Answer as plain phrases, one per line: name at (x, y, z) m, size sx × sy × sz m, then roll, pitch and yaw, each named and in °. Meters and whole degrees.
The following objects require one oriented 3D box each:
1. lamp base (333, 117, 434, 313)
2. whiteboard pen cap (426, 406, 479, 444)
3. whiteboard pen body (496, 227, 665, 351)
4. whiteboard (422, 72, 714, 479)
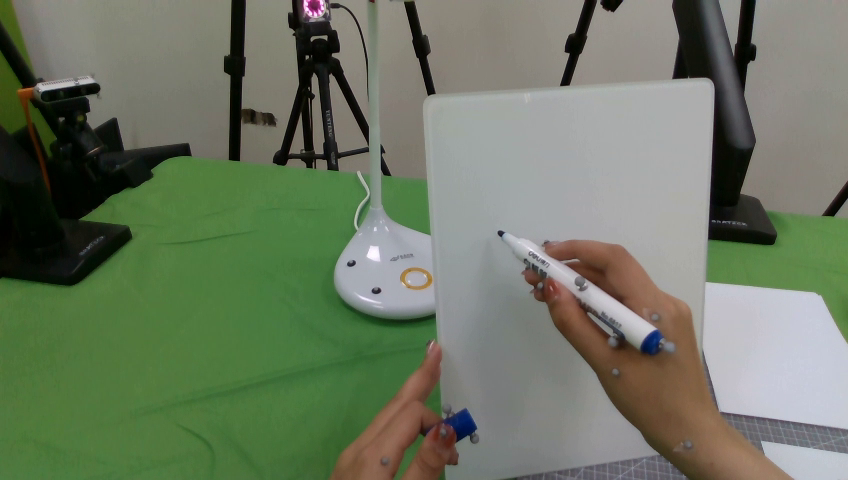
lamp base at (-0.034, -0.037, 0.680) m, size 0.161 × 0.181 × 0.177 m, roll -21°, pitch 36°, yaw -30°
whiteboard pen cap at (0.019, 0.121, 0.398) m, size 0.033 × 0.018 × 0.018 m, roll -28°, pitch 27°, yaw 19°
whiteboard pen body at (0.091, 0.024, 0.381) m, size 0.017 × 0.017 × 0.139 m, roll -20°, pitch 39°, yaw -28°
whiteboard at (0.105, 0.022, 0.523) m, size 0.217 × 0.306 × 0.143 m, roll -5°, pitch 14°, yaw -7°
